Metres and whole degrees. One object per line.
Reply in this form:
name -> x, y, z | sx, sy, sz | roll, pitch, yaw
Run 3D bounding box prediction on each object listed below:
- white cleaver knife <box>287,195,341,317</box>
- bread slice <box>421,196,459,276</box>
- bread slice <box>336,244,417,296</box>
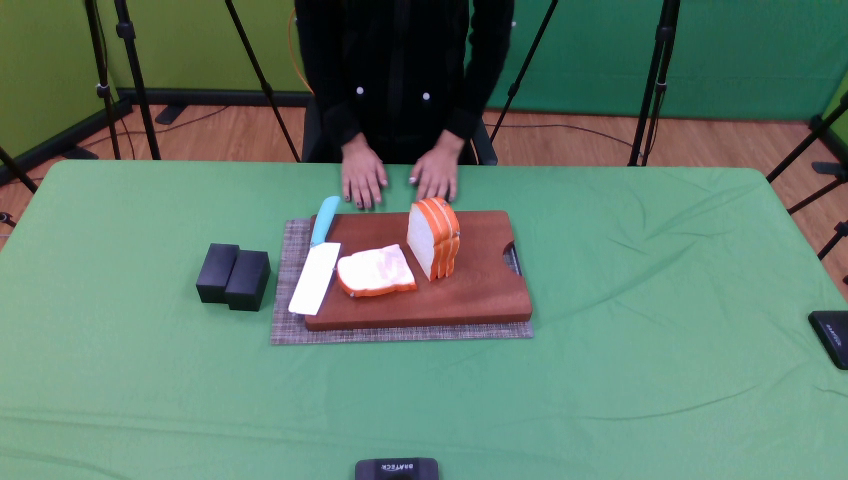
white cleaver knife -> -0.190, 0.025, 1.126 | 0.066, 0.021, 0.285 | 4, 51, 7
bread slice -> 0.031, -0.013, 1.099 | 0.019, 0.132, 0.104 | -16, 51, -24
bread slice -> -0.091, 0.054, 1.097 | 0.134, 0.018, 0.106 | -8, 44, -16
